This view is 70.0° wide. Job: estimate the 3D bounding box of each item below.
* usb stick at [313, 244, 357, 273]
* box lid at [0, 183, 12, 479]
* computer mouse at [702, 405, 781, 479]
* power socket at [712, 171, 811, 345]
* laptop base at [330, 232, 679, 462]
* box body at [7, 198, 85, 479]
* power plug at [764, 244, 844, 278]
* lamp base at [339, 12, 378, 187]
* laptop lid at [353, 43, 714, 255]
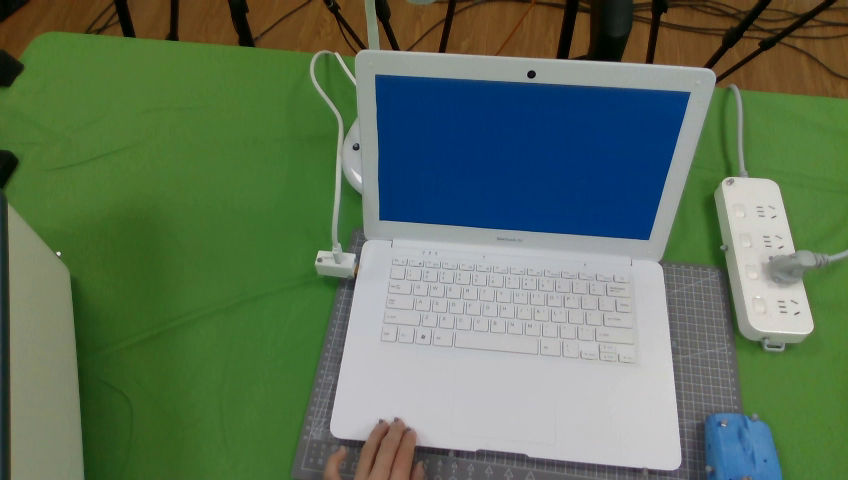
[{"bbox_3d":[-0.097,0.022,0.704,0.059,0.027,0.021,9,55,4],"label":"usb stick"},{"bbox_3d":[-0.484,0.113,0.503,0.263,0.015,0.368,-17,62,-10],"label":"box lid"},{"bbox_3d":[0.305,0.216,0.584,0.062,0.041,0.116,8,56,9],"label":"computer mouse"},{"bbox_3d":[0.391,0.012,0.709,0.072,0.033,0.225,5,60,2],"label":"power socket"},{"bbox_3d":[0.088,0.108,0.666,0.354,0.023,0.233,4,63,4],"label":"laptop base"},{"bbox_3d":[-0.482,0.154,0.567,0.254,0.162,0.360,-18,61,-9],"label":"box body"},{"bbox_3d":[0.417,0.030,0.672,0.072,0.053,0.035,14,60,7],"label":"power plug"},{"bbox_3d":[-0.040,-0.170,0.738,0.161,0.182,0.177,-28,60,-15],"label":"lamp base"},{"bbox_3d":[0.102,-0.088,0.654,0.356,0.244,0.013,3,36,4],"label":"laptop lid"}]
